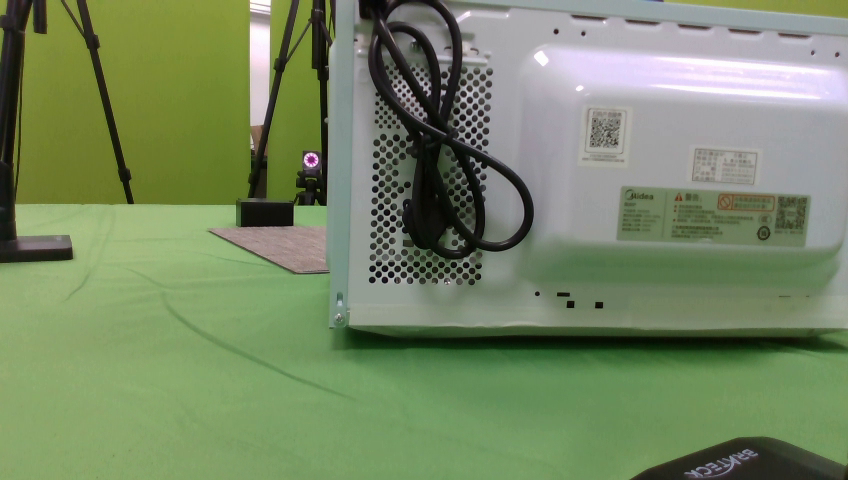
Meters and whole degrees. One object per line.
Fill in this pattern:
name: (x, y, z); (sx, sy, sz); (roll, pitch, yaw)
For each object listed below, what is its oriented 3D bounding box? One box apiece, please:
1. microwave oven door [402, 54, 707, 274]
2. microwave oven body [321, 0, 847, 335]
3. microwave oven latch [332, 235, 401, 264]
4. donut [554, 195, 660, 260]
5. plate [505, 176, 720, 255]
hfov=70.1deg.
microwave oven door: (0.157, -0.085, 0.717); (0.357, 0.243, 0.039); (1, 8, -8)
microwave oven body: (0.133, -0.062, 0.568); (0.443, 0.260, 0.325); (2, 6, -8)
microwave oven latch: (-0.066, 0.010, 0.700); (0.079, 0.029, 0.030); (2, 7, -8)
donut: (0.172, -0.014, 0.574); (0.099, 0.048, 0.099); (-13, 10, 3)
plate: (0.184, -0.026, 0.615); (0.209, 0.038, 0.209); (5, 17, -1)
